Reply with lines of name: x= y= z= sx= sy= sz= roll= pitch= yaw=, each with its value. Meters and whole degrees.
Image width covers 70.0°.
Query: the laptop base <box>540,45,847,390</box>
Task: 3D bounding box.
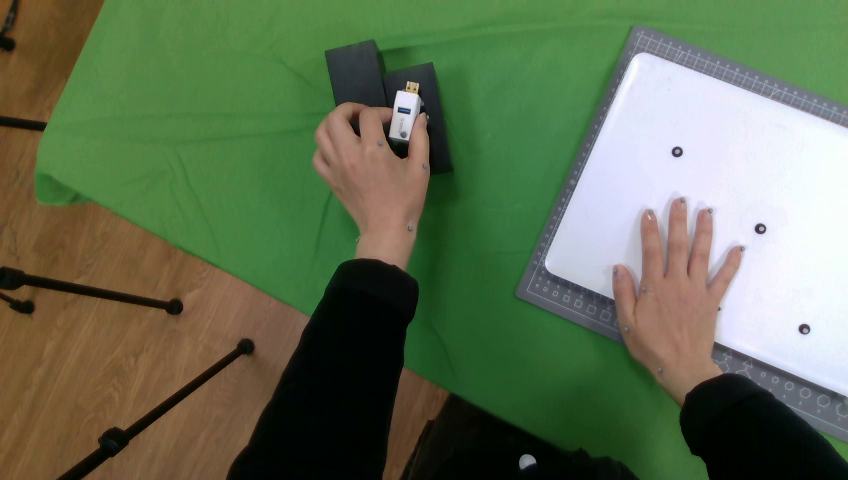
laptop base: x=0.319 y=-0.020 z=0.594 sx=0.354 sy=0.023 sz=0.235 roll=23 pitch=96 yaw=5

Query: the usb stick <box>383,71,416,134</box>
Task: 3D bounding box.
usb stick: x=-0.021 y=-0.132 z=0.571 sx=0.021 sy=0.027 sz=0.059 roll=13 pitch=89 yaw=5

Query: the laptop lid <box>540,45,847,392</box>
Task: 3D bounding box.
laptop lid: x=0.317 y=-0.018 z=0.583 sx=0.356 sy=0.013 sz=0.242 roll=24 pitch=96 yaw=5
